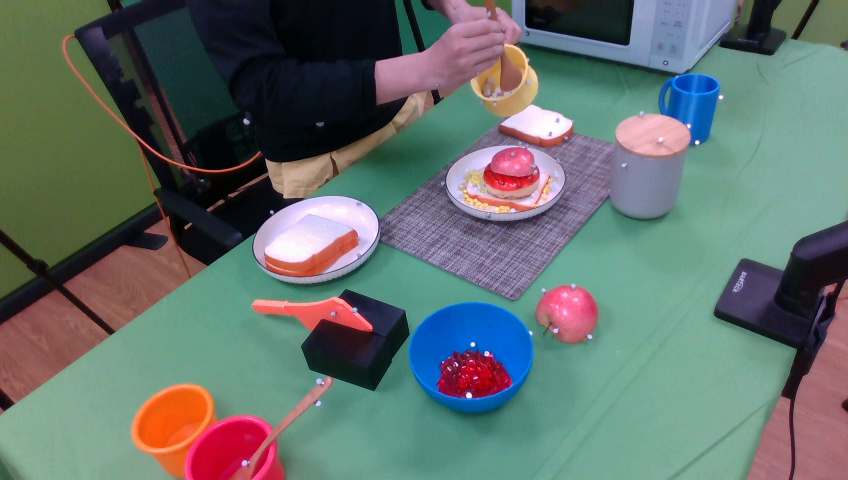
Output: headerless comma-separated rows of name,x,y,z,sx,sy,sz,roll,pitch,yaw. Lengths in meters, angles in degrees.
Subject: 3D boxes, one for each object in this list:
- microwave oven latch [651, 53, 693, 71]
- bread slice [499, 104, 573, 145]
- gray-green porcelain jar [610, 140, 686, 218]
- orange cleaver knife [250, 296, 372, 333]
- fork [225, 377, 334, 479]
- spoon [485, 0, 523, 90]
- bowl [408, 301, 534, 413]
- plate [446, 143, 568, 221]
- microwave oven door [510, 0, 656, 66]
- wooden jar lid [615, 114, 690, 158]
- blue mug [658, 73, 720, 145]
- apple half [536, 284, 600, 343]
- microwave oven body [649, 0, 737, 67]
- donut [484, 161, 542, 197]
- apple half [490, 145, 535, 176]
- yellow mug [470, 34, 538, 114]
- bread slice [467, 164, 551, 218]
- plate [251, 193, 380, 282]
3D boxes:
microwave oven latch,0.532,-0.386,1.301,0.078,0.029,0.030,27,52,34
bread slice,0.231,-0.231,1.205,0.105,0.019,0.130,-37,47,-28
gray-green porcelain jar,0.354,-0.106,0.964,0.106,0.127,0.105,-4,41,4
orange cleaver knife,-0.159,0.103,0.828,0.210,0.078,0.012,-4,43,39
fork,-0.163,0.216,0.646,0.207,0.019,0.028,-49,42,16
spoon,0.114,-0.288,0.891,0.041,0.195,0.021,-30,54,3
bowl,0.059,0.156,0.739,0.151,0.077,0.150,-4,40,4
plate,0.142,-0.097,1.045,0.207,0.039,0.206,-4,40,4
microwave oven door,0.350,-0.539,1.348,0.353,0.245,0.039,24,50,31
wooden jar lid,0.347,-0.155,0.923,0.108,0.021,0.108,-3,44,4
blue mug,0.483,-0.250,1.127,0.082,0.106,0.115,-26,44,-19
apple half,0.196,0.091,0.815,0.075,0.053,0.080,-22,42,-20
microwave oven body,0.475,-0.602,1.411,0.438,0.261,0.327,23,50,32
donut,0.149,-0.109,1.016,0.099,0.048,0.098,-4,40,4
apple half,0.147,-0.139,0.994,0.081,0.033,0.081,2,39,-1
yellow mug,0.136,-0.286,1.018,0.099,0.064,0.130,-3,75,25
bread slice,0.143,-0.089,1.048,0.134,0.018,0.107,13,47,15
plate,-0.174,-0.001,0.984,0.209,0.038,0.208,-4,40,3
